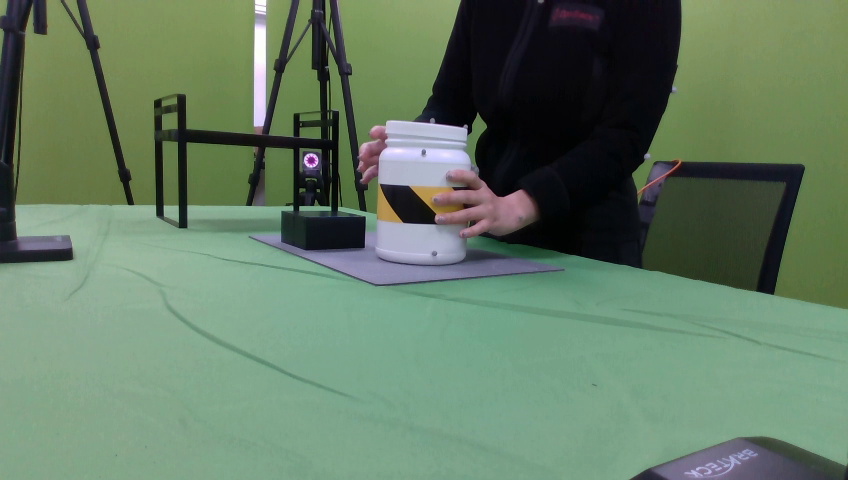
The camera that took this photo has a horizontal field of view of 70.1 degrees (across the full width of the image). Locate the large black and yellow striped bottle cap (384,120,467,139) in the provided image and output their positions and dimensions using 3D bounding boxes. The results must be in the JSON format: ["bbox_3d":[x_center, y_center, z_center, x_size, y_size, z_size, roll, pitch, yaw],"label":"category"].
[{"bbox_3d":[0.003,-0.153,0.836,0.115,0.019,0.115,4,7,0],"label":"large black and yellow striped bottle cap"}]

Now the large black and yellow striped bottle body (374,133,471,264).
[{"bbox_3d":[-0.002,-0.066,0.849,0.131,0.184,0.130,3,8,0],"label":"large black and yellow striped bottle body"}]
